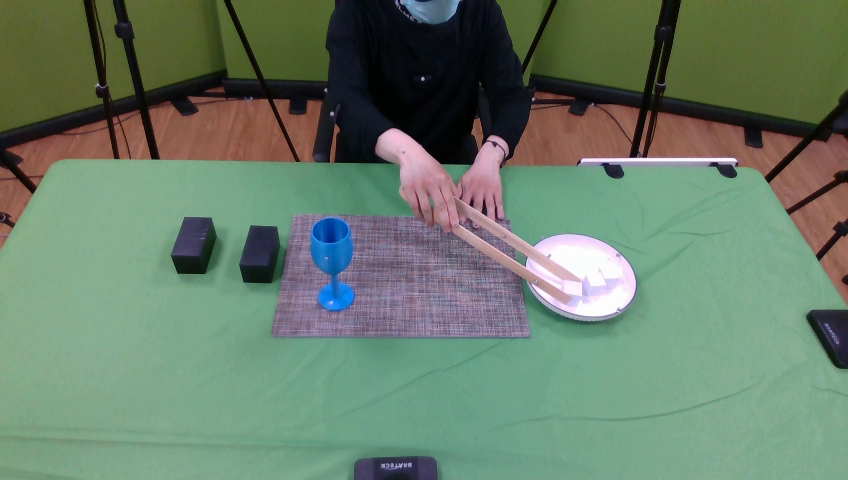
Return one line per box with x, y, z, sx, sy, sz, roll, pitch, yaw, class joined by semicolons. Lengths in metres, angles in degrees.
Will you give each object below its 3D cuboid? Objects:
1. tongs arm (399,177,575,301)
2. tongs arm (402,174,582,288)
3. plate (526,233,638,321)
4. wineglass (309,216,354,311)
0.106;-0.003;1.116;0.386;0.028;0.028;33;47;11;tongs arm
0.121;-0.017;1.138;0.384;0.026;0.050;35;44;13;tongs arm
0.292;0.071;1.135;0.209;0.038;0.208;2;46;-2;plate
-0.155;0.043;1.032;0.074;0.173;0.073;2;46;-2;wineglass
